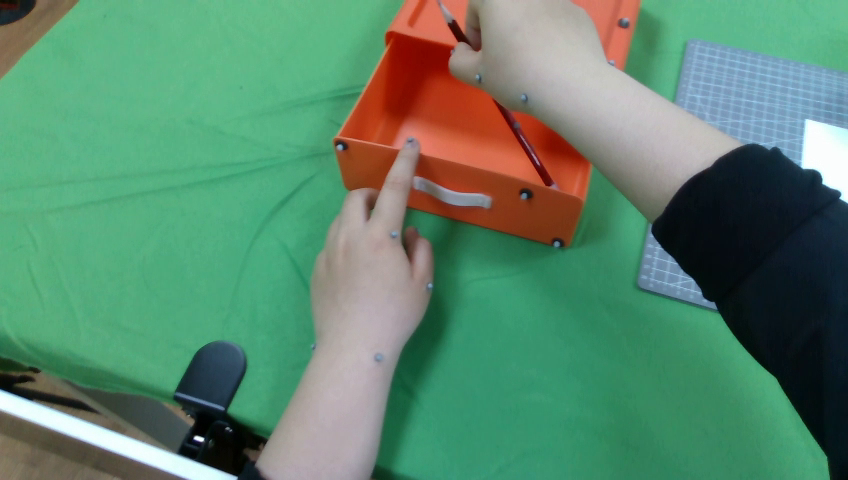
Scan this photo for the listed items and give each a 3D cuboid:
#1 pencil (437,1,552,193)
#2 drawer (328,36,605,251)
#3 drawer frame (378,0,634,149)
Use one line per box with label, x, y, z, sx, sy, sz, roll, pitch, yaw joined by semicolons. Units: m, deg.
pencil;0.060;-0.094;0.464;0.012;0.012;0.195;-41;110;-22
drawer;0.050;-0.112;0.520;0.194;0.074;0.210;15;59;10
drawer frame;0.088;-0.208;0.576;0.201;0.083;0.212;15;59;10
